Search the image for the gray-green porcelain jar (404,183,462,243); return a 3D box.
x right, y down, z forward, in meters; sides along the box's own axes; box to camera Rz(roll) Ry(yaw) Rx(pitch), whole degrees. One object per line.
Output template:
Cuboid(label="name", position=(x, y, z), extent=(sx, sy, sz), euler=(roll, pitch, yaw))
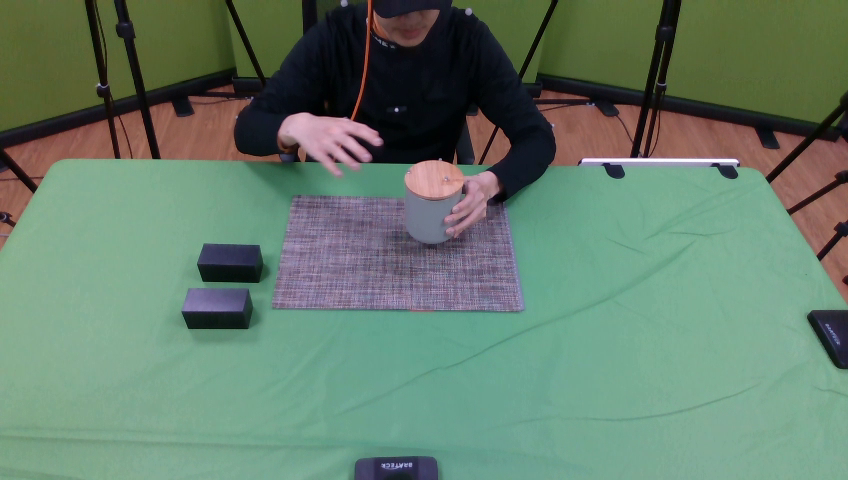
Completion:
Cuboid(label="gray-green porcelain jar", position=(0.015, -0.066, 1.145), extent=(0.106, 0.127, 0.105), euler=(1, 47, -1))

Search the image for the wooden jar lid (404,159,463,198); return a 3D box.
Cuboid(label="wooden jar lid", position=(0.017, -0.108, 1.098), extent=(0.108, 0.021, 0.107), euler=(0, 44, 0))
